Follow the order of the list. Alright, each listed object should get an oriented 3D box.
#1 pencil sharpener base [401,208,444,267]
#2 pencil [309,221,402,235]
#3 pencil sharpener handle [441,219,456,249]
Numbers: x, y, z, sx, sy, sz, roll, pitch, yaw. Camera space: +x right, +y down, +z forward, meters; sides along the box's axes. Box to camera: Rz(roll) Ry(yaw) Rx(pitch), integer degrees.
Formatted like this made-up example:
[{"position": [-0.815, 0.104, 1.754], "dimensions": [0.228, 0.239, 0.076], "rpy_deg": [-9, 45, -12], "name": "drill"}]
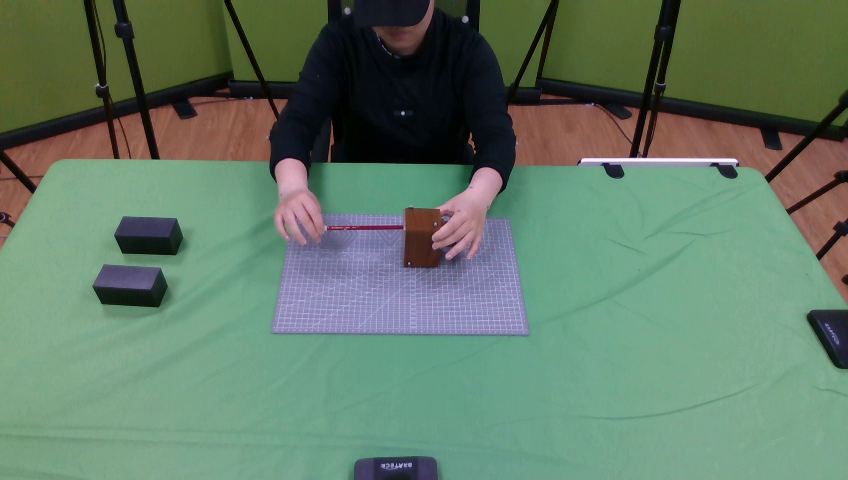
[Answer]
[{"position": [-0.004, -0.003, 1.137], "dimensions": [0.077, 0.107, 0.061], "rpy_deg": [1, 45, -4], "name": "pencil sharpener base"}, {"position": [-0.114, -0.020, 1.111], "dimensions": [0.194, 0.012, 0.012], "rpy_deg": [6, 45, -3], "name": "pencil"}, {"position": [0.047, -0.010, 1.131], "dimensions": [0.031, 0.068, 0.036], "rpy_deg": [1, 44, -4], "name": "pencil sharpener handle"}]
